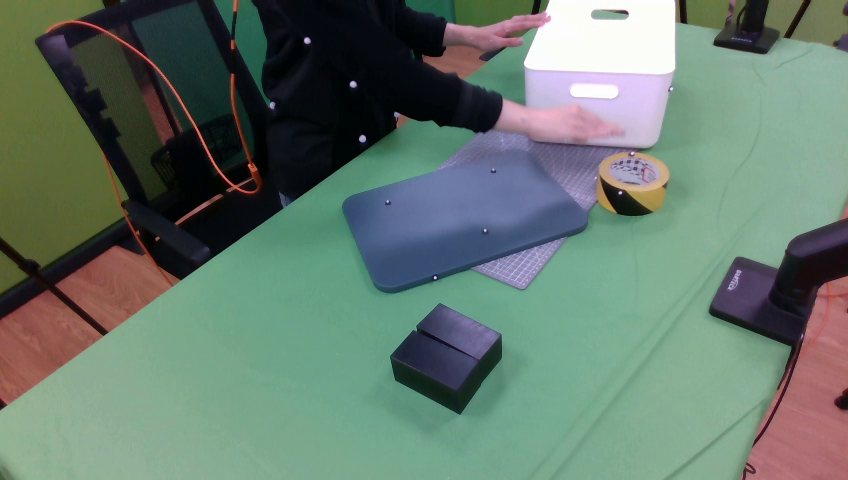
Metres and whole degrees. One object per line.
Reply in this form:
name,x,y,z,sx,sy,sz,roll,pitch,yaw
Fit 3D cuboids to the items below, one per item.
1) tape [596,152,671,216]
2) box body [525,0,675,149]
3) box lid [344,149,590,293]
tape,0.349,-0.095,1.009,0.117,0.053,0.116,-3,43,3
box body,0.356,-0.342,1.212,0.253,0.161,0.363,7,42,17
box lid,0.062,-0.045,1.027,0.373,0.015,0.261,-18,41,-11
